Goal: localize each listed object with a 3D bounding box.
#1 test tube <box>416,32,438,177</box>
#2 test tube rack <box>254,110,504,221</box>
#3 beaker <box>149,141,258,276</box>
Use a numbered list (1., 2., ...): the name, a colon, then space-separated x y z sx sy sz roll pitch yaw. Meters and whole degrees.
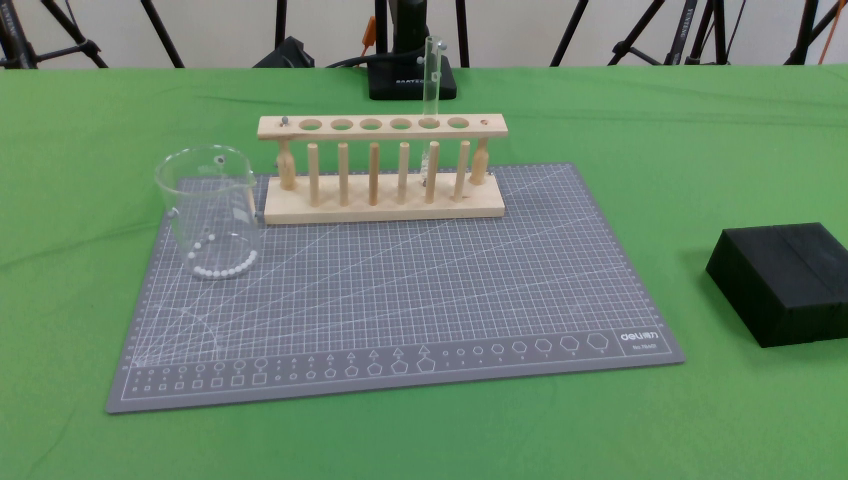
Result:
1. test tube: 0.002 -0.129 0.600 0.017 0.151 0.017 2 37 -1
2. test tube rack: -0.042 -0.076 0.613 0.243 0.086 0.066 -2 41 -7
3. beaker: -0.185 -0.024 0.531 0.084 0.101 0.073 10 42 7
